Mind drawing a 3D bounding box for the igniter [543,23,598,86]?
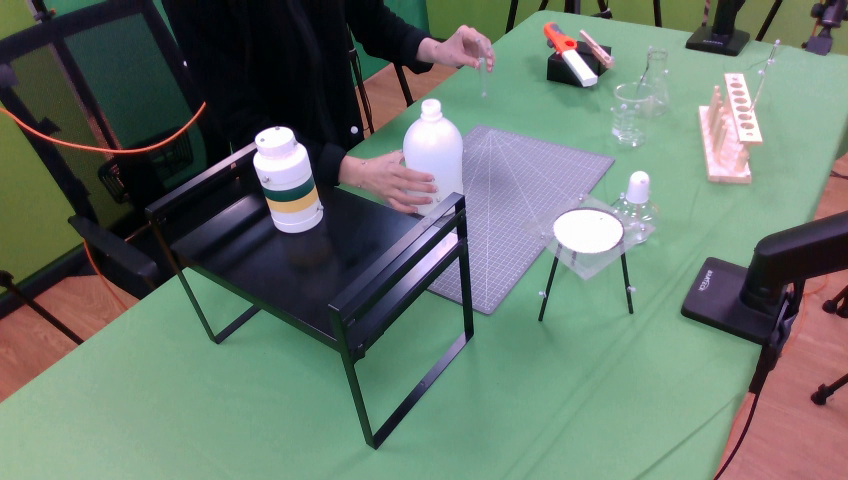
[{"bbox_3d":[0.320,-0.419,1.345,0.057,0.025,0.274,-12,44,-3],"label":"igniter"}]

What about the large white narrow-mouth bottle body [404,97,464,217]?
[{"bbox_3d":[0.016,-0.140,1.000,0.102,0.195,0.101,-2,38,2],"label":"large white narrow-mouth bottle body"}]

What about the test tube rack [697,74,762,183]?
[{"bbox_3d":[0.547,-0.208,1.095,0.066,0.085,0.242,5,42,15],"label":"test tube rack"}]

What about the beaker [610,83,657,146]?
[{"bbox_3d":[0.388,-0.235,1.138,0.074,0.101,0.083,-31,45,-25],"label":"beaker"}]

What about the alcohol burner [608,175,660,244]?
[{"bbox_3d":[0.322,-0.053,0.924,0.078,0.119,0.077,-4,43,4],"label":"alcohol burner"}]

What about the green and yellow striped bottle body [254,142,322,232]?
[{"bbox_3d":[-0.165,-0.073,0.732,0.063,0.120,0.063,-4,41,4],"label":"green and yellow striped bottle body"}]

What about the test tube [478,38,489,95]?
[{"bbox_3d":[0.108,-0.308,1.090,0.017,0.151,0.017,-2,69,6],"label":"test tube"}]

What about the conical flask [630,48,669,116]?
[{"bbox_3d":[0.457,-0.317,1.205,0.075,0.122,0.075,-4,41,4],"label":"conical flask"}]

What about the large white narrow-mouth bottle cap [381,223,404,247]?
[{"bbox_3d":[-0.052,-0.009,0.992,0.038,0.024,0.037,-5,39,4],"label":"large white narrow-mouth bottle cap"}]

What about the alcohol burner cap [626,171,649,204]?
[{"bbox_3d":[0.320,-0.081,0.900,0.034,0.048,0.033,-4,42,4],"label":"alcohol burner cap"}]

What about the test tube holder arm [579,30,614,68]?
[{"bbox_3d":[0.384,-0.428,1.351,0.013,0.015,0.177,-11,41,-4],"label":"test tube holder arm"}]

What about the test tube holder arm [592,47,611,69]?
[{"bbox_3d":[0.386,-0.398,1.317,0.010,0.015,0.087,-10,41,-3],"label":"test tube holder arm"}]

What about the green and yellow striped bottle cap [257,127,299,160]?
[{"bbox_3d":[-0.169,-0.112,0.698,0.045,0.020,0.045,-5,40,5],"label":"green and yellow striped bottle cap"}]

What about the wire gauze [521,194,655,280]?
[{"bbox_3d":[0.207,-0.012,0.772,0.122,0.011,0.124,-28,44,-20],"label":"wire gauze"}]

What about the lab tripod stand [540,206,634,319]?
[{"bbox_3d":[0.217,0.034,0.821,0.148,0.132,0.147,-4,42,4],"label":"lab tripod stand"}]

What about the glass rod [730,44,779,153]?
[{"bbox_3d":[0.555,-0.234,1.020,0.008,0.200,0.008,2,40,-1],"label":"glass rod"}]
